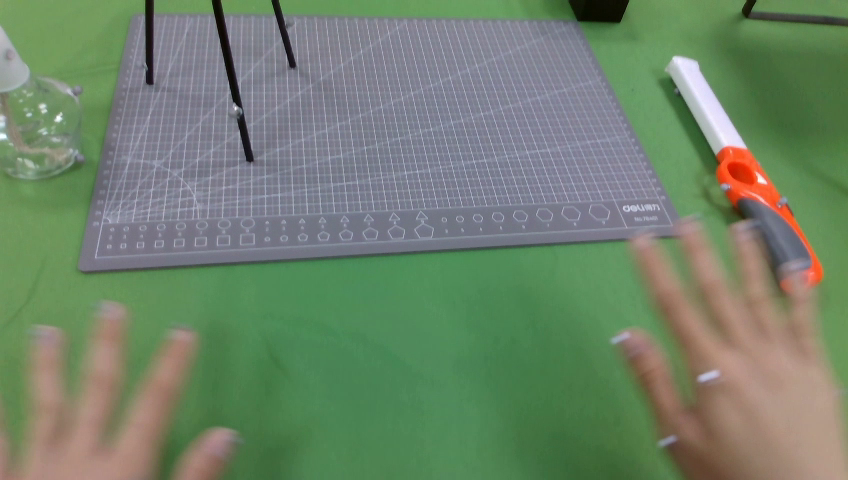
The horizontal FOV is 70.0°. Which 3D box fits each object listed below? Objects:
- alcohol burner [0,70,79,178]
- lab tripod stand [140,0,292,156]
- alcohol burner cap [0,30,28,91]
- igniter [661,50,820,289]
[{"bbox_3d":[-0.284,-0.101,0.414,0.078,0.120,0.077,5,51,-6],"label":"alcohol burner"},{"bbox_3d":[-0.156,-0.159,0.462,0.149,0.132,0.147,5,53,-7],"label":"lab tripod stand"},{"bbox_3d":[-0.280,-0.121,0.385,0.034,0.048,0.033,3,59,-5],"label":"alcohol burner cap"},{"bbox_3d":[0.272,-0.075,0.534,0.057,0.025,0.273,5,53,-18],"label":"igniter"}]
